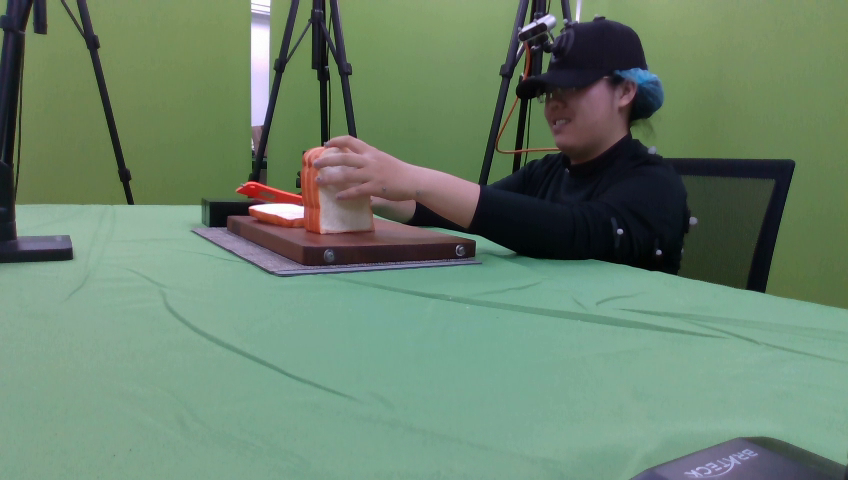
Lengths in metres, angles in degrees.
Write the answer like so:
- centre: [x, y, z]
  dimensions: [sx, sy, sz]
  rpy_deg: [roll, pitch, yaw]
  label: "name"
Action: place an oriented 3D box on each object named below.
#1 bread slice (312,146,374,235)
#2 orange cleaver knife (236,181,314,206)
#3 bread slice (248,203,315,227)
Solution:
- centre: [-0.127, -0.075, 0.921]
  dimensions: [0.018, 0.134, 0.107]
  rpy_deg: [-3, 3, 44]
  label: "bread slice"
- centre: [-0.272, -0.084, 1.233]
  dimensions: [0.212, 0.012, 0.077]
  rpy_deg: [12, -22, -24]
  label: "orange cleaver knife"
- centre: [-0.228, -0.043, 1.022]
  dimensions: [0.131, 0.019, 0.105]
  rpy_deg: [14, 15, 37]
  label: "bread slice"
